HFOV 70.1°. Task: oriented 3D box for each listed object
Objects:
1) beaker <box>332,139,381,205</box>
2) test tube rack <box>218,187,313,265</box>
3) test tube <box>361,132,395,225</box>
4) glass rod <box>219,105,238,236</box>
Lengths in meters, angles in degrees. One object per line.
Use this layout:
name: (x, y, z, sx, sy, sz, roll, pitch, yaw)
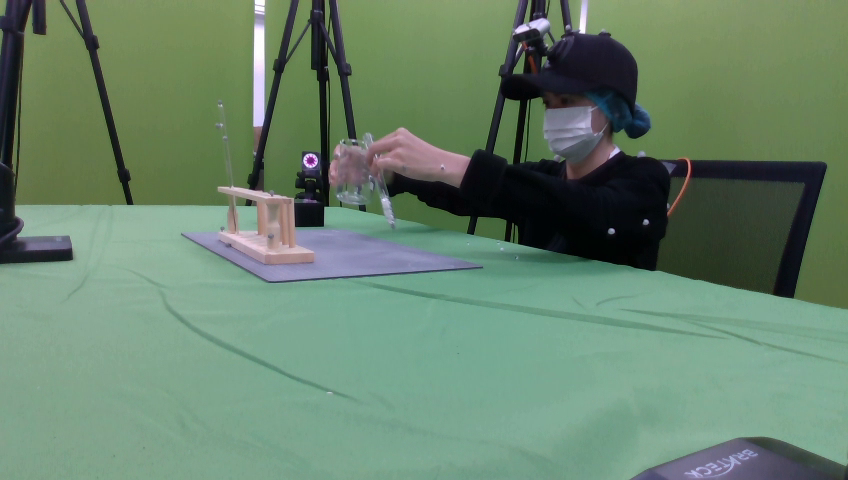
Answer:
beaker: (-0.118, -0.116, 1.053, 0.074, 0.100, 0.083, -4, 25, -38)
test tube rack: (-0.235, -0.027, 0.872, 0.067, 0.085, 0.241, -2, 8, -32)
test tube: (-0.072, -0.096, 0.947, 0.017, 0.150, 0.017, -16, -3, -1)
glass rod: (-0.294, -0.100, 0.908, 0.008, 0.199, 0.008, -3, 12, 1)
